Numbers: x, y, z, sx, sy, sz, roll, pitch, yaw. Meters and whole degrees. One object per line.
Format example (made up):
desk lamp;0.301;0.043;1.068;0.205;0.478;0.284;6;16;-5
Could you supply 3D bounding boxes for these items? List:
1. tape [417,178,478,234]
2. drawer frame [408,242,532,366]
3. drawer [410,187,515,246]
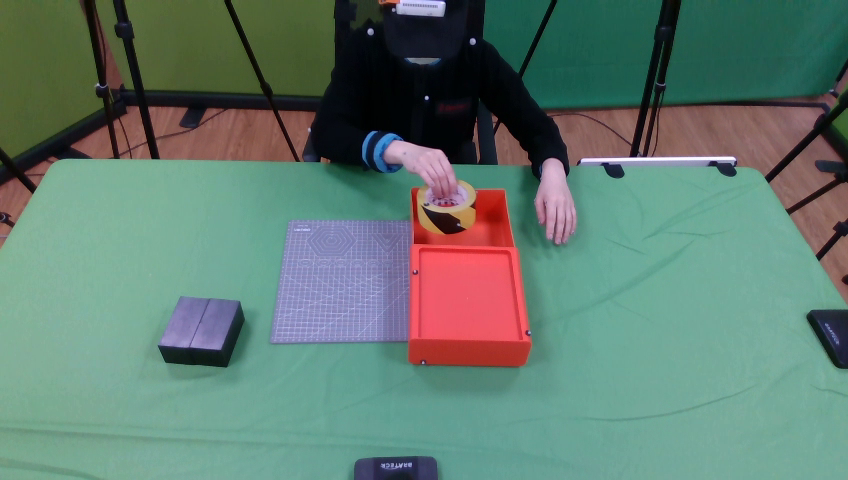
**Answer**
tape;0.043;-0.065;1.133;0.117;0.053;0.116;-1;40;1
drawer frame;0.073;0.107;1.053;0.202;0.083;0.212;2;47;-3
drawer;0.071;-0.010;1.173;0.195;0.073;0.210;1;46;-4
